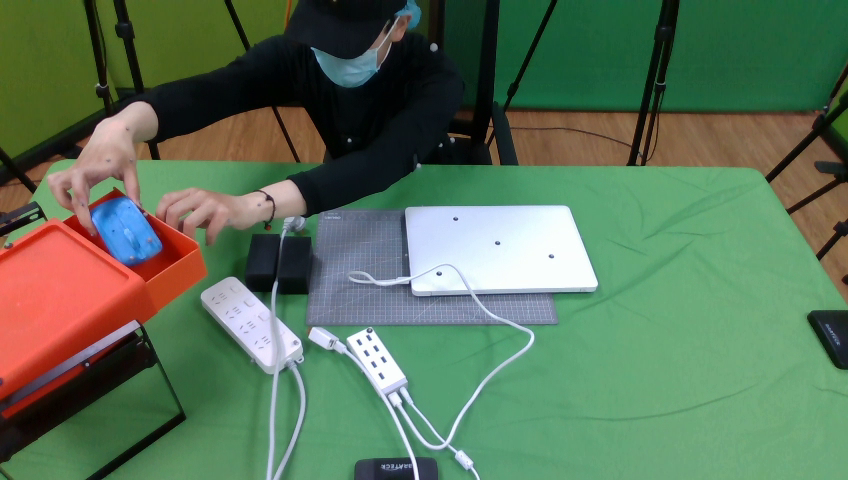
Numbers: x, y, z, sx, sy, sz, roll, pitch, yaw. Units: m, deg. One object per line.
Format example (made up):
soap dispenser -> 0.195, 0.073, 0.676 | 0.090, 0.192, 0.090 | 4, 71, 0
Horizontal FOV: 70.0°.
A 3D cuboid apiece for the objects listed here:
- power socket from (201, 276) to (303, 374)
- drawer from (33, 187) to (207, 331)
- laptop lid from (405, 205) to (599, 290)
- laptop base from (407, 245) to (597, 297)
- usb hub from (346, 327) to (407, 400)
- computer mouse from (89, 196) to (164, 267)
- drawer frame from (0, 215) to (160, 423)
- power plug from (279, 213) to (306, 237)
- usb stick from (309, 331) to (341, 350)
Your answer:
power socket -> -0.296, 0.141, 1.034 | 0.072, 0.033, 0.225 | -35, 58, -31
drawer -> -0.448, 0.042, 0.837 | 0.193, 0.073, 0.211 | 30, 52, 22
laptop lid -> 0.143, 0.008, 1.189 | 0.357, 0.013, 0.240 | 0, 44, -5
laptop base -> 0.143, 0.018, 1.196 | 0.355, 0.023, 0.234 | -1, 43, -6
usb hub -> -0.078, 0.202, 0.998 | 0.049, 0.025, 0.124 | -23, 53, -24
computer mouse -> -0.419, -0.015, 0.851 | 0.063, 0.041, 0.116 | -30, 67, -29
drawer frame -> -0.499, 0.091, 0.783 | 0.201, 0.083, 0.213 | 28, 51, 20
power plug -> -0.261, -0.021, 1.184 | 0.035, 0.053, 0.072 | 13, 55, 33
usb stick -> -0.172, 0.167, 1.020 | 0.059, 0.021, 0.027 | 11, 3, 25
